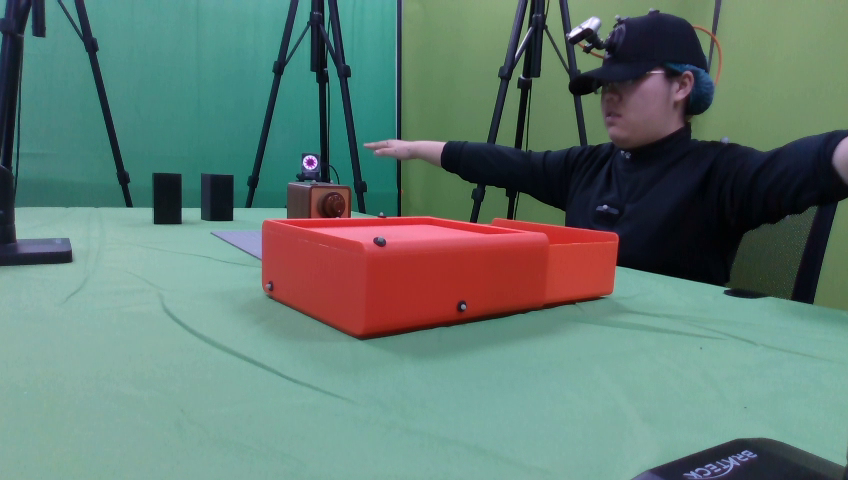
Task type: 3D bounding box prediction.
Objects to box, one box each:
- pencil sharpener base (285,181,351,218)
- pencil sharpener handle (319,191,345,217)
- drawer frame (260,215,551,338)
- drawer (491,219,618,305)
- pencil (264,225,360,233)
[{"bbox_3d":[-0.139,-0.021,0.789,0.062,0.107,0.076,-2,9,-36],"label":"pencil sharpener base"},{"bbox_3d":[-0.107,-0.026,0.748,0.036,0.067,0.030,-6,11,-36],"label":"pencil sharpener handle"},{"bbox_3d":[-0.021,0.023,0.595,0.215,0.082,0.200,-4,10,-38],"label":"drawer frame"},{"bbox_3d":[0.071,0.021,0.670,0.213,0.073,0.193,-3,10,-39],"label":"drawer"},{"bbox_3d":[-0.212,-0.021,1.157,0.195,0.012,0.012,-3,9,-32],"label":"pencil"}]
